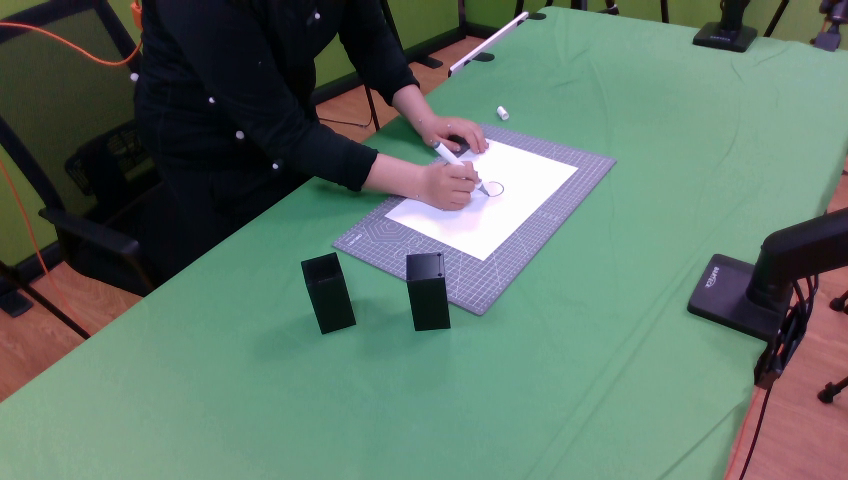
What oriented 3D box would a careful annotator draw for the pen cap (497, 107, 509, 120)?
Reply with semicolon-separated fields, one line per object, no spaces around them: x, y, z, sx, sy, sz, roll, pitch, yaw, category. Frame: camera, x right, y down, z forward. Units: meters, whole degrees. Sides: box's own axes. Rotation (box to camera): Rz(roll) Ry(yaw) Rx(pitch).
0.164;-0.264;1.262;0.017;0.017;0.038;-14;41;-7;pen cap

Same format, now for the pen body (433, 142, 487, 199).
0.064;-0.113;1.020;0.017;0.145;0.017;-32;35;25;pen body
